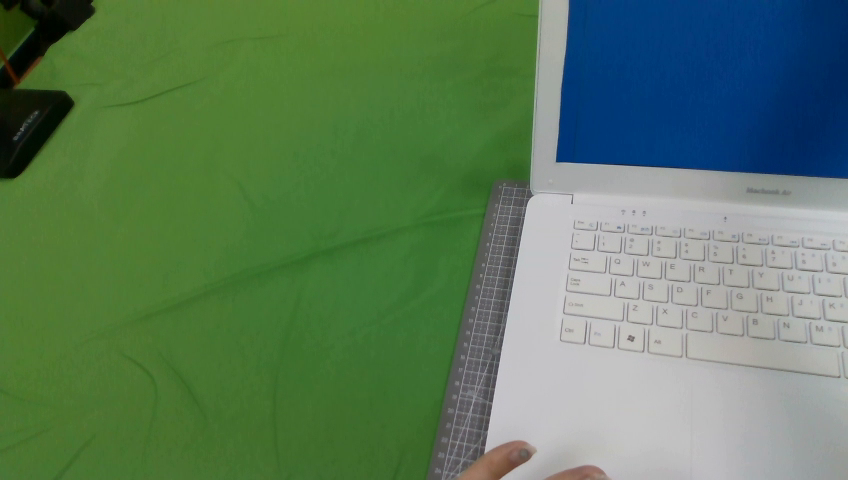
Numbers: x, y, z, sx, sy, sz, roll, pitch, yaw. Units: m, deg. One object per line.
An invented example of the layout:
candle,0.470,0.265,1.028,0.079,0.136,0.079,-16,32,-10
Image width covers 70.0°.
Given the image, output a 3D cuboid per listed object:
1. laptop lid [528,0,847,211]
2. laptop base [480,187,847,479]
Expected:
laptop lid,0.249,-0.125,0.401,0.355,0.243,0.013,4,28,15
laptop base,0.228,0.074,0.396,0.353,0.023,0.234,5,60,15
